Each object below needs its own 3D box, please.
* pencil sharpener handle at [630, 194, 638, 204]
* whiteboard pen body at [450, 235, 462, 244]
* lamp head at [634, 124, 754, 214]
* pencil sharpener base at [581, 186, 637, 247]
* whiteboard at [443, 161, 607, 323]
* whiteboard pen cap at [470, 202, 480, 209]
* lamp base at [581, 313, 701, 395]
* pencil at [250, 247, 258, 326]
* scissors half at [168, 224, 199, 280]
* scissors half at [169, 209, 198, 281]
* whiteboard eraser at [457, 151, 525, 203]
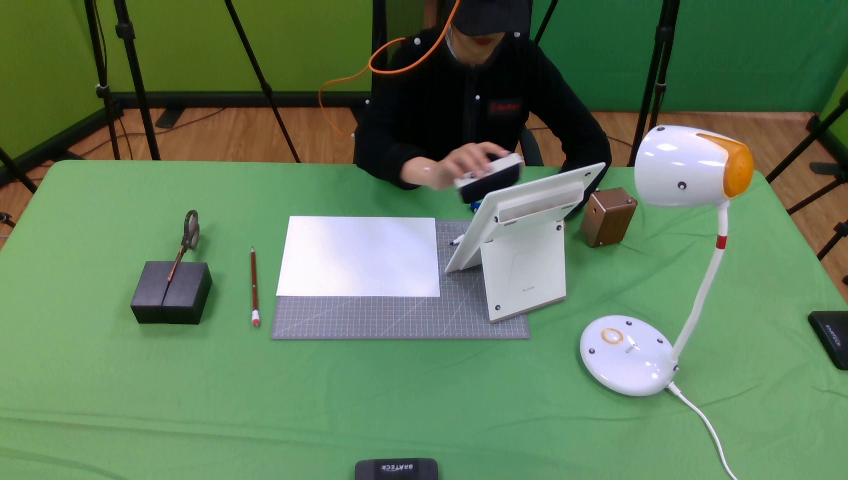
[{"bbox_3d":[0.417,-0.068,1.215,0.031,0.068,0.036,-11,60,-15],"label":"pencil sharpener handle"},{"bbox_3d":[0.110,-0.018,1.222,0.141,0.017,0.017,-23,52,-24],"label":"whiteboard pen body"},{"bbox_3d":[0.351,-0.089,0.776,0.112,0.113,0.122,-30,30,-28],"label":"lamp head"},{"bbox_3d":[0.369,-0.047,1.209,0.077,0.107,0.061,-11,47,-15],"label":"pencil sharpener base"},{"bbox_3d":[0.185,0.025,1.029,0.217,0.306,0.143,-15,68,-18],"label":"whiteboard"},{"bbox_3d":[0.113,-0.073,1.280,0.033,0.018,0.018,4,46,5],"label":"whiteboard pen cap"},{"bbox_3d":[0.361,0.144,0.973,0.178,0.181,0.160,34,53,23],"label":"lamp base"},{"bbox_3d":[-0.312,0.079,1.107,0.012,0.012,0.192,-7,46,-11],"label":"pencil"},{"bbox_3d":[-0.441,0.023,1.111,0.013,0.040,0.174,9,29,-8],"label":"scissors half"},{"bbox_3d":[-0.438,0.007,1.099,0.013,0.040,0.174,4,48,-5],"label":"scissors half"},{"bbox_3d":[0.111,-0.100,0.986,0.113,0.056,0.041,-24,65,-1],"label":"whiteboard eraser"}]
